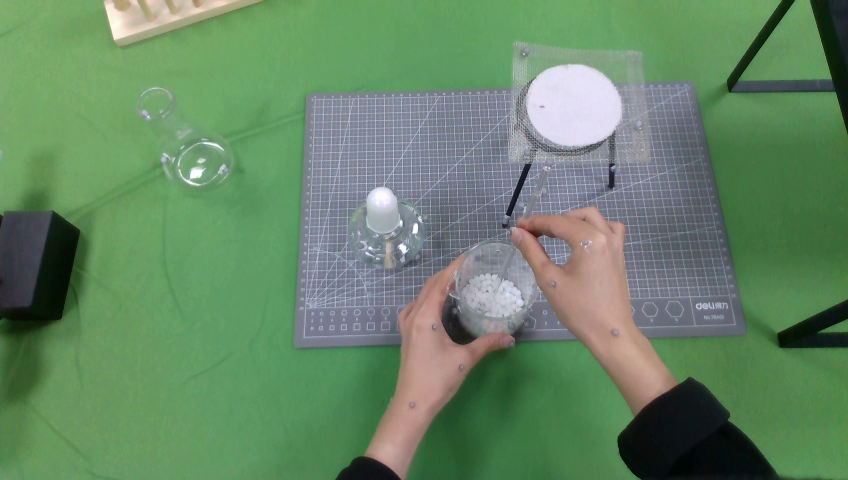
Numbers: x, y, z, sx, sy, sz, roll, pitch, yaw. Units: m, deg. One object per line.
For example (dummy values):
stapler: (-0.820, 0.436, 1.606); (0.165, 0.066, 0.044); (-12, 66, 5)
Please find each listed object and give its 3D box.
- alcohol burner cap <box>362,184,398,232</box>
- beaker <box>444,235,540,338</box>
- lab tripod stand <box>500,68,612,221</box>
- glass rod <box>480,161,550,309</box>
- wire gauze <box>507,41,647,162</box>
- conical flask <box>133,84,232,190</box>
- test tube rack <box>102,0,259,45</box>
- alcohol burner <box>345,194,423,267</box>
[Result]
alcohol burner cap: (-0.041, -0.032, 0.554); (0.034, 0.048, 0.033); (1, 62, -2)
beaker: (0.061, 0.050, 0.568); (0.084, 0.101, 0.073); (-11, 68, -2)
lab tripod stand: (0.130, -0.096, 0.604); (0.148, 0.132, 0.147); (0, 67, 0)
glass rod: (0.076, 0.005, 0.530); (0.008, 0.201, 0.008); (6, 50, -7)
wire gauze: (0.136, -0.125, 0.542); (0.121, 0.011, 0.124); (4, 70, 1)
conical flask: (-0.253, -0.109, 0.623); (0.075, 0.122, 0.075); (0, 68, 1)
test tube rack: (-0.275, -0.323, 0.724); (0.242, 0.086, 0.066); (-21, 70, -7)
alcohol burner: (-0.040, -0.017, 0.587); (0.078, 0.120, 0.077); (0, 68, 0)
